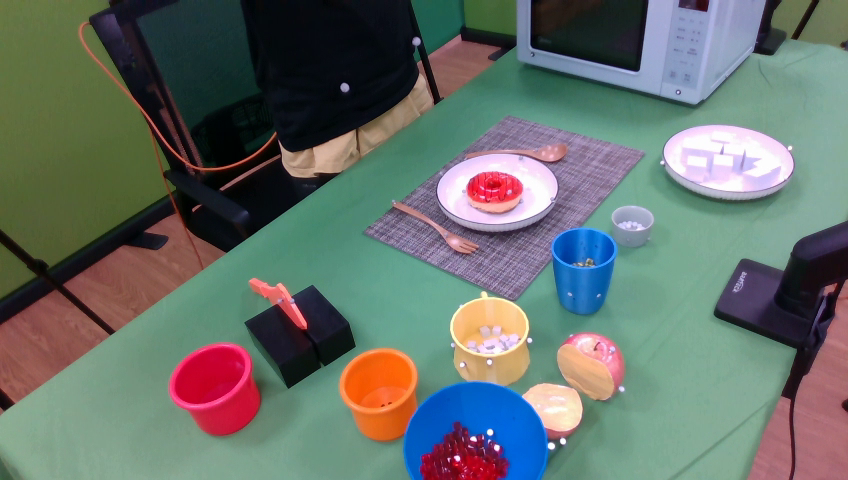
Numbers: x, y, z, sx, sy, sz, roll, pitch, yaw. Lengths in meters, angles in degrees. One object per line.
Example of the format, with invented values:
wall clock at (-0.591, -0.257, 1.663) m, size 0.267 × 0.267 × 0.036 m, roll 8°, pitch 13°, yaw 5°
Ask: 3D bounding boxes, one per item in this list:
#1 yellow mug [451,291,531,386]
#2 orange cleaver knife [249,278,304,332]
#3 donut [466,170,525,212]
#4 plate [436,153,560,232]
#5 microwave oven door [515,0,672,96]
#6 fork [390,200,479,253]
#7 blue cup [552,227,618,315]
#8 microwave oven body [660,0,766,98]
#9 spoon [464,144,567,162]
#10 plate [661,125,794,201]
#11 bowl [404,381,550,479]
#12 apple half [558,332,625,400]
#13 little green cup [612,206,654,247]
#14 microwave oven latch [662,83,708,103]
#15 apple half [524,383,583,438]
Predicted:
yellow mug at (0.086, 0.120, 0.786) m, size 0.100 × 0.064 × 0.130 m, roll -7°, pitch 39°, yaw 1°
orange cleaver knife at (-0.210, 0.089, 0.855) m, size 0.012 × 0.077 × 0.210 m, roll -27°, pitch 14°, yaw -25°
donut at (0.121, -0.083, 1.019) m, size 0.099 × 0.048 × 0.098 m, roll -4°, pitch 39°, yaw 4°
plate at (0.125, -0.078, 1.029) m, size 0.209 × 0.038 × 0.208 m, roll -4°, pitch 40°, yaw 4°
microwave oven door at (0.344, -0.455, 1.259) m, size 0.353 × 0.245 × 0.039 m, roll 26°, pitch 51°, yaw 33°
fork at (0.011, -0.025, 0.998) m, size 0.028 × 0.019 × 0.205 m, roll -40°, pitch 51°, yaw -22°
blue cup at (0.218, 0.047, 0.825) m, size 0.092 × 0.100 × 0.092 m, roll -6°, pitch 40°, yaw 5°
microwave oven body at (0.473, -0.513, 1.317) m, size 0.438 × 0.261 × 0.327 m, roll 26°, pitch 51°, yaw 34°
spoon at (0.170, -0.163, 1.135) m, size 0.193 × 0.022 × 0.041 m, roll 1°, pitch 60°, yaw 10°
plate at (0.513, -0.128, 1.035) m, size 0.207 × 0.039 × 0.206 m, roll -4°, pitch 40°, yaw 4°
bowl at (0.058, 0.235, 0.645) m, size 0.151 × 0.077 × 0.150 m, roll -4°, pitch 39°, yaw 4°
apple half at (0.209, 0.147, 0.731) m, size 0.080 × 0.075 × 0.053 m, roll 25°, pitch 46°, yaw 38°
little green cup at (0.321, -0.019, 0.936) m, size 0.061 × 0.039 × 0.061 m, roll -4°, pitch 40°, yaw 3°
microwave oven latch at (0.518, -0.296, 1.205) m, size 0.078 × 0.029 × 0.030 m, roll 29°, pitch 53°, yaw 36°
apple half at (0.149, 0.204, 0.704) m, size 0.081 × 0.033 × 0.081 m, roll -10°, pitch 25°, yaw 5°
